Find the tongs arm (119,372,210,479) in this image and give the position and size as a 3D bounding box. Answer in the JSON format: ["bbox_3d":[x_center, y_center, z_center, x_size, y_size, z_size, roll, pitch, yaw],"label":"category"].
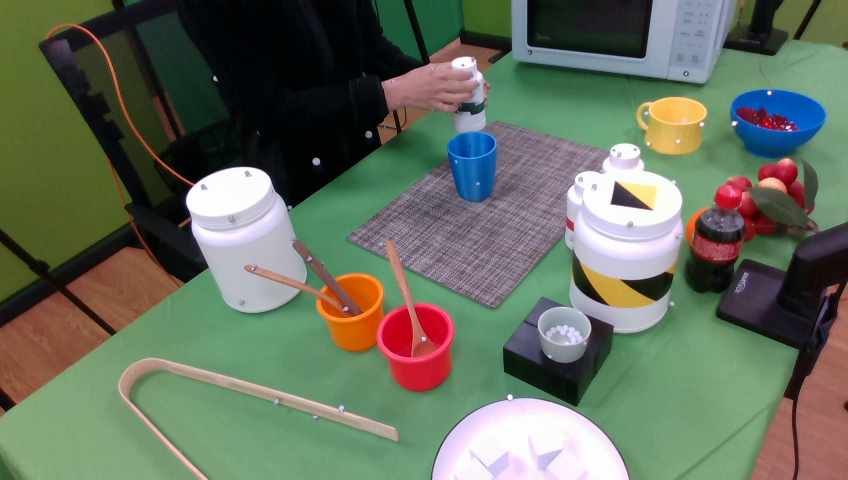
[{"bbox_3d":[-0.258,0.257,0.700,0.384,0.028,0.028,24,55,34],"label":"tongs arm"}]

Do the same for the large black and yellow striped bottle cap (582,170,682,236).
[{"bbox_3d":[0.252,-0.048,0.735,0.115,0.019,0.114,-3,40,3],"label":"large black and yellow striped bottle cap"}]

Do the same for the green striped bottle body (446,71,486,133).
[{"bbox_3d":[0.075,-0.255,1.077,0.063,0.120,0.063,-6,40,6],"label":"green striped bottle body"}]

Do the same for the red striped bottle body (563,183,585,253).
[{"bbox_3d":[0.246,-0.041,0.910,0.063,0.120,0.062,-2,38,2],"label":"red striped bottle body"}]

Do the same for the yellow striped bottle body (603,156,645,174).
[{"bbox_3d":[0.313,-0.089,0.955,0.063,0.121,0.062,-5,39,4],"label":"yellow striped bottle body"}]

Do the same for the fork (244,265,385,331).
[{"bbox_3d":[-0.142,0.078,0.806,0.209,0.018,0.028,30,32,-24],"label":"fork"}]

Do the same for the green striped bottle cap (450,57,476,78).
[{"bbox_3d":[0.067,-0.297,1.043,0.044,0.020,0.044,-3,41,3],"label":"green striped bottle cap"}]

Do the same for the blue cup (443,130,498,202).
[{"bbox_3d":[0.086,-0.123,1.040,0.092,0.100,0.092,-5,42,5],"label":"blue cup"}]

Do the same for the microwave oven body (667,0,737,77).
[{"bbox_3d":[0.462,-0.552,1.369,0.439,0.261,0.326,15,45,26],"label":"microwave oven body"}]

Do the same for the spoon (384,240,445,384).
[{"bbox_3d":[-0.016,0.090,0.776,0.042,0.021,0.193,-17,85,-10],"label":"spoon"}]

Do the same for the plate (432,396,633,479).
[{"bbox_3d":[0.112,0.261,0.634,0.209,0.038,0.208,-5,40,4],"label":"plate"}]

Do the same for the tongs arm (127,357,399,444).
[{"bbox_3d":[-0.213,0.205,0.755,0.382,0.026,0.051,12,45,23],"label":"tongs arm"}]

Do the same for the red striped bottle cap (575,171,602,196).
[{"bbox_3d":[0.242,-0.081,0.876,0.044,0.018,0.044,-5,44,5],"label":"red striped bottle cap"}]

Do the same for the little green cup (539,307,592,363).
[{"bbox_3d":[0.168,0.115,0.721,0.061,0.039,0.061,-4,42,4],"label":"little green cup"}]

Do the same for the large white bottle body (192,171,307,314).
[{"bbox_3d":[-0.256,0.003,0.885,0.130,0.185,0.130,-4,40,4],"label":"large white bottle body"}]

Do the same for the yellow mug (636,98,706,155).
[{"bbox_3d":[0.453,-0.217,1.128,0.100,0.064,0.129,-34,46,-27],"label":"yellow mug"}]

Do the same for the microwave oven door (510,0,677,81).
[{"bbox_3d":[0.354,-0.478,1.290,0.353,0.245,0.039,15,45,25],"label":"microwave oven door"}]

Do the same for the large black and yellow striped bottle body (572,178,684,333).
[{"bbox_3d":[0.262,0.017,0.788,0.131,0.185,0.130,-5,40,4],"label":"large black and yellow striped bottle body"}]

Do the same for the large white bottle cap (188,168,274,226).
[{"bbox_3d":[-0.264,-0.061,0.831,0.115,0.018,0.114,-4,40,4],"label":"large white bottle cap"}]

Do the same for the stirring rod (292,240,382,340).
[{"bbox_3d":[-0.119,0.068,0.826,0.176,0.006,0.014,49,58,-4],"label":"stirring rod"}]

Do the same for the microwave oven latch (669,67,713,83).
[{"bbox_3d":[0.556,-0.348,1.261,0.078,0.029,0.030,16,46,27],"label":"microwave oven latch"}]

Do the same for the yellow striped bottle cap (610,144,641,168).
[{"bbox_3d":[0.307,-0.128,0.923,0.044,0.019,0.044,-6,40,5],"label":"yellow striped bottle cap"}]

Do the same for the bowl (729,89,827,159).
[{"bbox_3d":[0.615,-0.197,1.069,0.151,0.077,0.150,-5,40,5],"label":"bowl"}]
